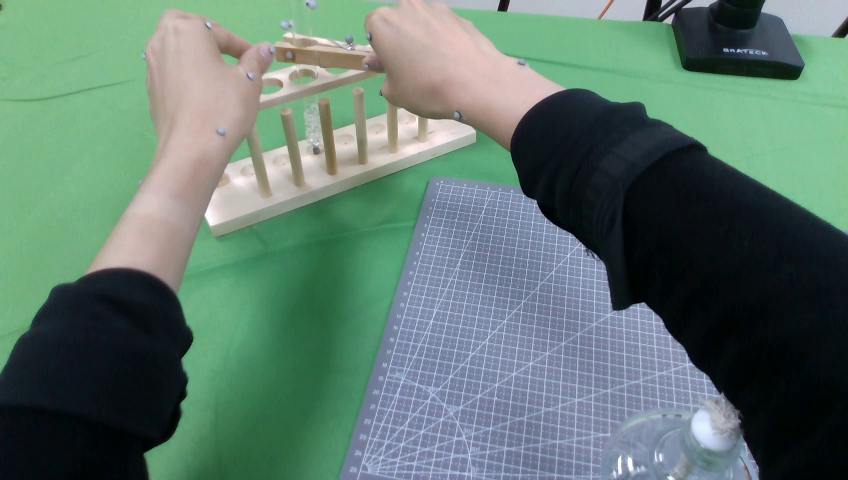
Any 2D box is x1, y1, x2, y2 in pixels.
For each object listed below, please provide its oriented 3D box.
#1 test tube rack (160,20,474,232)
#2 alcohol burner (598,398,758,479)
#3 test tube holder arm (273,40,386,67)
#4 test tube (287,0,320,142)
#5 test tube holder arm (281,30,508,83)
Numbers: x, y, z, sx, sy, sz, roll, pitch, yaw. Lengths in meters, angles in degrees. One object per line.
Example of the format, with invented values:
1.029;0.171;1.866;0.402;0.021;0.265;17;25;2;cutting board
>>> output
-0.076;-0.099;0.502;0.243;0.086;0.066;-23;52;-19;test tube rack
0.127;0.107;0.295;0.078;0.120;0.077;-1;49;1;alcohol burner
-0.069;-0.139;0.450;0.087;0.015;0.010;6;54;12;test tube holder arm
-0.093;-0.137;0.469;0.017;0.151;0.017;2;48;-2;test tube
-0.025;-0.135;0.442;0.177;0.015;0.013;13;56;16;test tube holder arm
